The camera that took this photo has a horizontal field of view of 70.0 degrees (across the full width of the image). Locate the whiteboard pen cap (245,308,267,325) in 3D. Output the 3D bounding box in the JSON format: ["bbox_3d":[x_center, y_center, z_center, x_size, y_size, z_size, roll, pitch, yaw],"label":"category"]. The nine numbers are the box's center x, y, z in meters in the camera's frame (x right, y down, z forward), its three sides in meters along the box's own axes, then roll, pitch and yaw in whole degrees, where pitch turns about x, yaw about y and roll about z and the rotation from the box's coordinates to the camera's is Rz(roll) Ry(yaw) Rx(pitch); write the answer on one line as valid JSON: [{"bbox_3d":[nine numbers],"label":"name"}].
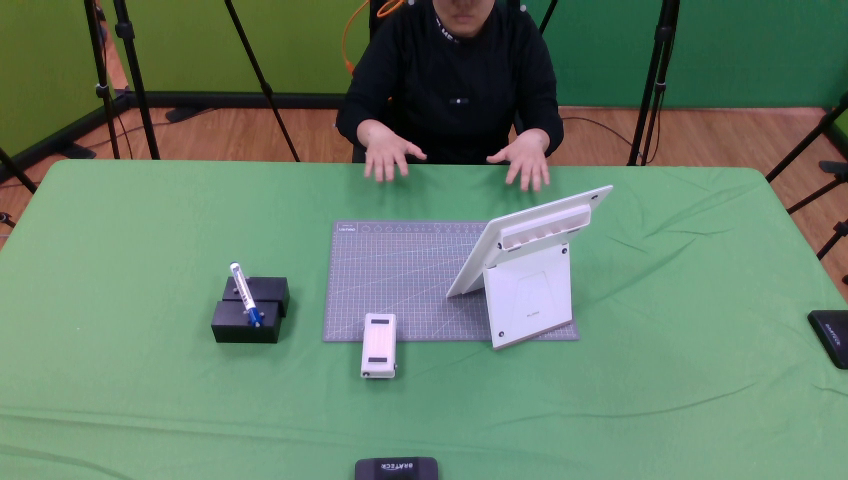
[{"bbox_3d":[-0.273,0.126,0.987,0.033,0.018,0.018,30,49,0],"label":"whiteboard pen cap"}]

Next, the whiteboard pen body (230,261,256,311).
[{"bbox_3d":[-0.304,0.086,1.025,0.017,0.017,0.140,-18,50,-20],"label":"whiteboard pen body"}]

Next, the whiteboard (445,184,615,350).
[{"bbox_3d":[0.186,0.065,0.989,0.217,0.306,0.143,-15,68,-18],"label":"whiteboard"}]

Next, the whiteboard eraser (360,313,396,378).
[{"bbox_3d":[-0.075,0.176,1.006,0.055,0.042,0.112,3,50,-4],"label":"whiteboard eraser"}]
